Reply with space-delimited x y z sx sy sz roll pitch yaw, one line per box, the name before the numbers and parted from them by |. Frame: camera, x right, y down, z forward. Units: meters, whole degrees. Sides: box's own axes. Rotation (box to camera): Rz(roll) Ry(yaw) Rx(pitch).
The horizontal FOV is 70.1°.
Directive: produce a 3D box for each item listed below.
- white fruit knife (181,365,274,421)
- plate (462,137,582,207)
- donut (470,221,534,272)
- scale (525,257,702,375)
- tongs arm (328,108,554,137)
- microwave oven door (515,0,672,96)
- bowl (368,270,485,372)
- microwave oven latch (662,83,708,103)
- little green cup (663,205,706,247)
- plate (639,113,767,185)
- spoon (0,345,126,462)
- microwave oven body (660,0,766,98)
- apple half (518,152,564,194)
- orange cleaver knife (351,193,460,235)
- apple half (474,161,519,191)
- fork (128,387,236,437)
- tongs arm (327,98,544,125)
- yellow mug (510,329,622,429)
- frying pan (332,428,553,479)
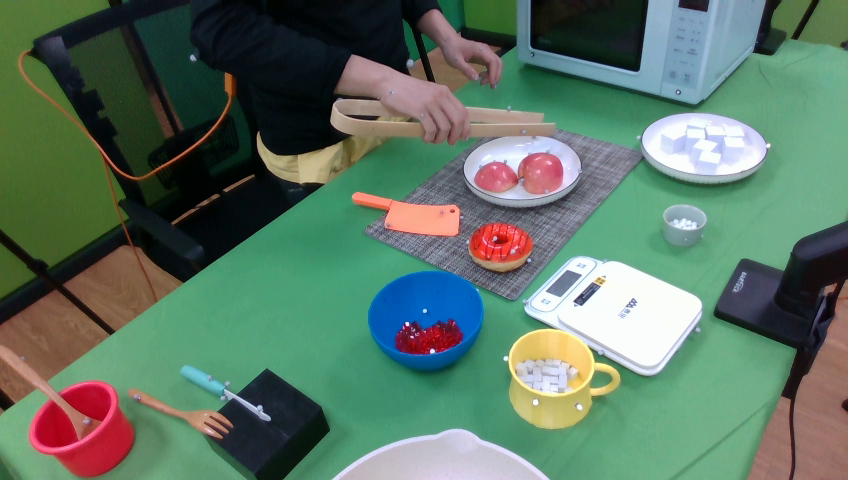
white fruit knife | -0.245 0.187 0.747 0.205 0.027 0.016 9 41 40
plate | 0.173 -0.119 1.070 0.209 0.038 0.208 -4 40 4
donut | 0.118 0.009 0.923 0.099 0.048 0.098 -3 39 3
scale | 0.254 0.091 0.821 0.199 0.032 0.149 27 51 35
tongs arm | 0.043 -0.177 0.942 0.390 0.028 0.028 -3 48 -27
microwave oven door | 0.343 -0.454 1.259 0.353 0.245 0.039 26 51 33
bowl | 0.007 0.118 0.791 0.151 0.077 0.150 -4 40 4
microwave oven latch | 0.517 -0.296 1.204 0.078 0.029 0.030 27 52 35
little green cup | 0.396 -0.020 0.926 0.061 0.039 0.061 -4 40 4
plate | 0.489 -0.157 1.074 0.207 0.039 0.206 -4 40 4
spoon | -0.434 0.192 0.720 0.194 0.021 0.042 47 53 -6
microwave oven body | 0.472 -0.513 1.317 0.438 0.261 0.327 26 51 34
apple half | 0.204 -0.124 1.048 0.075 0.053 0.080 -6 41 -2
orange cleaver knife | -0.036 -0.044 1.029 0.210 0.012 0.077 10 48 18
apple half | 0.130 -0.119 1.067 0.081 0.033 0.081 -4 37 3
fork | -0.305 0.207 0.744 0.206 0.019 0.028 3 41 36
tongs arm | 0.034 -0.193 0.957 0.387 0.026 0.050 0 43 -24
yellow mug | 0.168 0.164 0.721 0.130 0.064 0.099 0 40 8
frying pan | -0.089 0.306 0.564 0.487 0.103 0.306 10 41 7
